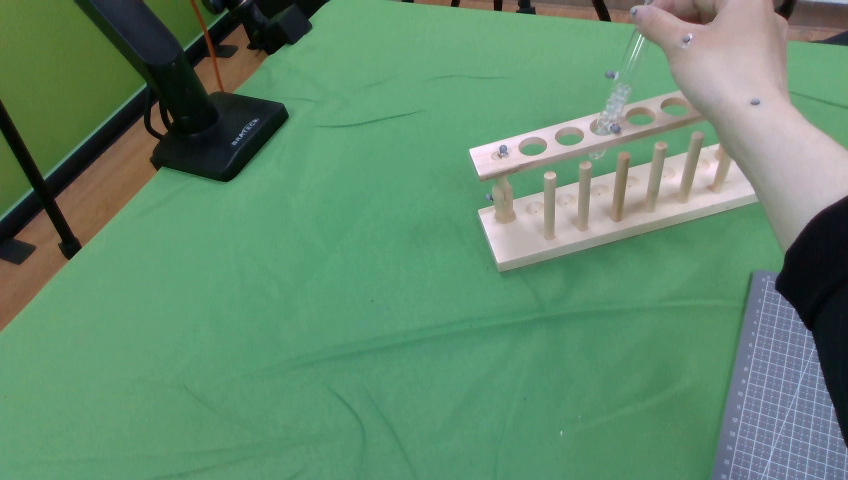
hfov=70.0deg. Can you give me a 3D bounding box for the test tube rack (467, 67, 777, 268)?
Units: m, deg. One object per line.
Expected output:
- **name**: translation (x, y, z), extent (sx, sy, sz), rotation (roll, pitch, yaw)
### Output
- **test tube rack**: translation (0.164, -0.058, 0.498), extent (0.242, 0.086, 0.066), rotation (-15, 49, -1)

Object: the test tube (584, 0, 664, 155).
- **test tube**: translation (0.153, -0.134, 0.458), extent (0.017, 0.151, 0.017), rotation (13, 28, -7)
